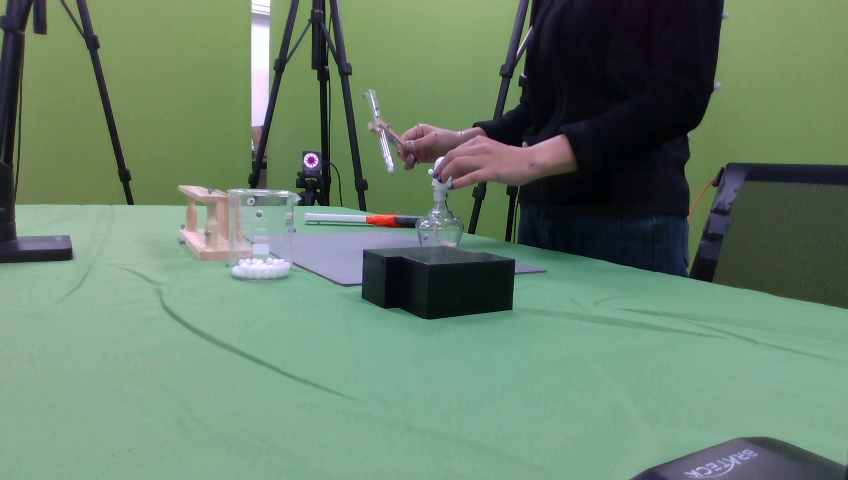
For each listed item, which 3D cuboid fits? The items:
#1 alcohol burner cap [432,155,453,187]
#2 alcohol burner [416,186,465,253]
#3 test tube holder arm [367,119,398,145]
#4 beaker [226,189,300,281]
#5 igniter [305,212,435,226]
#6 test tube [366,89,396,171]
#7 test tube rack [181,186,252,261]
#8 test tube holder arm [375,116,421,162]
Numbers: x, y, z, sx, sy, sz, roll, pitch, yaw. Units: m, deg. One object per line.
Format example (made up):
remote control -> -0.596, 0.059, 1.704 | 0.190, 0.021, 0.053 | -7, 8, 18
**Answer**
alcohol burner cap -> 0.030, -0.107, 0.927 | 0.034, 0.048, 0.034 | 7, 15, -2
alcohol burner -> 0.026, -0.040, 0.935 | 0.078, 0.119, 0.078 | 1, 6, 0
test tube holder arm -> -0.066, -0.180, 1.018 | 0.010, 0.015, 0.088 | -23, -21, 25
beaker -> -0.184, -0.007, 0.694 | 0.084, 0.100, 0.073 | -1, 8, -29
igniter -> -0.114, -0.046, 1.296 | 0.277, 0.025, 0.057 | 1, -2, -11
test tube -> -0.071, -0.182, 0.995 | 0.017, 0.150, 0.017 | -15, -15, -4
test tube rack -> -0.312, -0.031, 0.893 | 0.067, 0.085, 0.241 | -1, 8, -27
test tube holder arm -> -0.042, -0.173, 1.056 | 0.013, 0.015, 0.179 | -19, -20, 18
